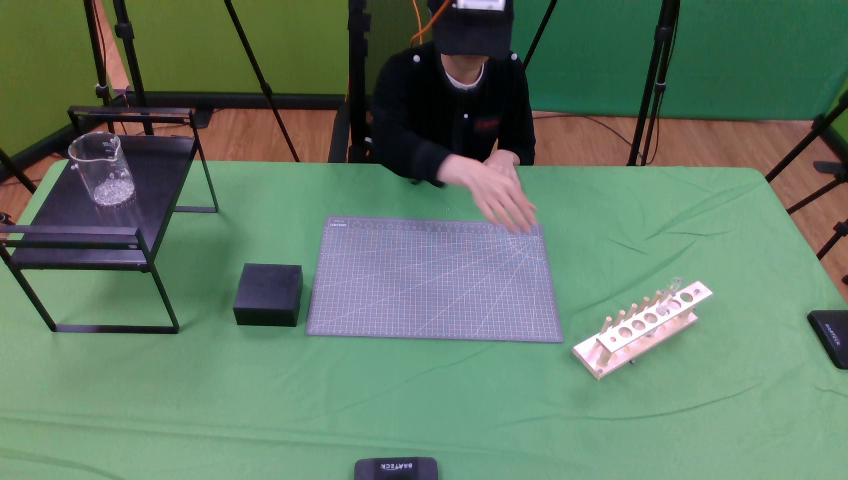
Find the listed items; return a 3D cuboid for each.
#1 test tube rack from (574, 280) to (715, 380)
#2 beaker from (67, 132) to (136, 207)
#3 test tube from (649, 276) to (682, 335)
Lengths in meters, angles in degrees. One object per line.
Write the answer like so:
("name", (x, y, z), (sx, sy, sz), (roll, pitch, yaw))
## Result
("test tube rack", (0.378, 0.140, 1.038), (0.242, 0.085, 0.066), (-22, 51, -23))
("beaker", (-0.504, -0.109, 0.961), (0.083, 0.101, 0.074), (25, 50, 19))
("test tube", (0.395, 0.111, 0.999), (0.017, 0.151, 0.017), (0, 47, 0))
